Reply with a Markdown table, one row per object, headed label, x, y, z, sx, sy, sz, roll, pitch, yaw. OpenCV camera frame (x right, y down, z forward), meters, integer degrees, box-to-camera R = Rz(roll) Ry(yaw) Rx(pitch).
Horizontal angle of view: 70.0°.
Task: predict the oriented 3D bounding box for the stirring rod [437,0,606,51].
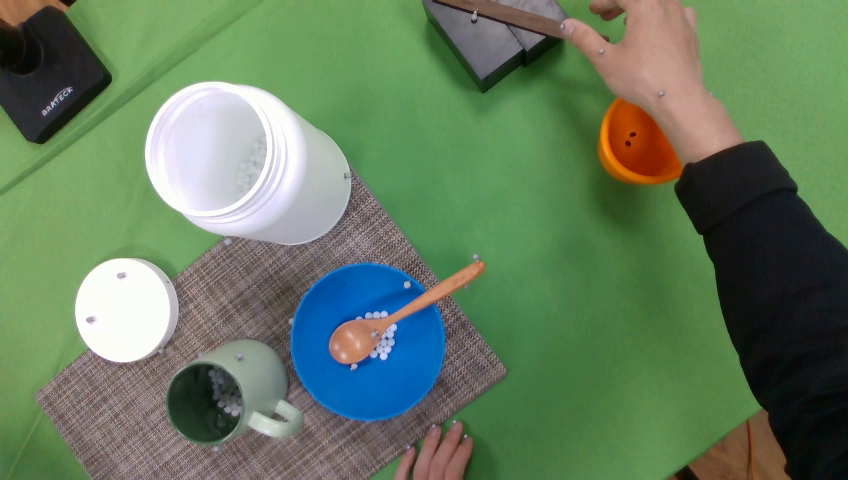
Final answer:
| label | x | y | z | sx | sy | sz | roll | pitch | yaw |
| --- | --- | --- | --- | --- | --- | --- | --- | --- | --- |
| stirring rod | 0.087 | -0.212 | 0.575 | 0.176 | 0.006 | 0.014 | 20 | 127 | 6 |

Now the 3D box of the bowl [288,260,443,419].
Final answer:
| label | x | y | z | sx | sy | sz | roll | pitch | yaw |
| --- | --- | --- | --- | --- | --- | --- | --- | --- | --- |
| bowl | -0.051 | 0.094 | 0.607 | 0.151 | 0.077 | 0.151 | 0 | 90 | 7 |

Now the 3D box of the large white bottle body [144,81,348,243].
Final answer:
| label | x | y | z | sx | sy | sz | roll | pitch | yaw |
| --- | --- | --- | --- | --- | --- | --- | --- | --- | --- |
| large white bottle body | -0.157 | -0.066 | 0.564 | 0.130 | 0.185 | 0.130 | 0 | 87 | 9 |

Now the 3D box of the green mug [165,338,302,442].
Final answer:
| label | x | y | z | sx | sy | sz | roll | pitch | yaw |
| --- | --- | --- | --- | --- | --- | --- | --- | --- | --- |
| green mug | -0.182 | 0.157 | 0.609 | 0.125 | 0.105 | 0.092 | 26 | 92 | 6 |

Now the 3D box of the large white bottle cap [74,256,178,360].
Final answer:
| label | x | y | z | sx | sy | sz | roll | pitch | yaw |
| --- | --- | --- | --- | --- | --- | --- | --- | --- | --- |
| large white bottle cap | -0.329 | 0.075 | 0.669 | 0.115 | 0.018 | 0.114 | 0 | 89 | 7 |

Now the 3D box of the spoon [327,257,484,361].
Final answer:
| label | x | y | z | sx | sy | sz | roll | pitch | yaw |
| --- | --- | --- | --- | --- | --- | --- | --- | --- | --- |
| spoon | -0.021 | 0.067 | 0.575 | 0.193 | 0.021 | 0.041 | -32 | 89 | 29 |
